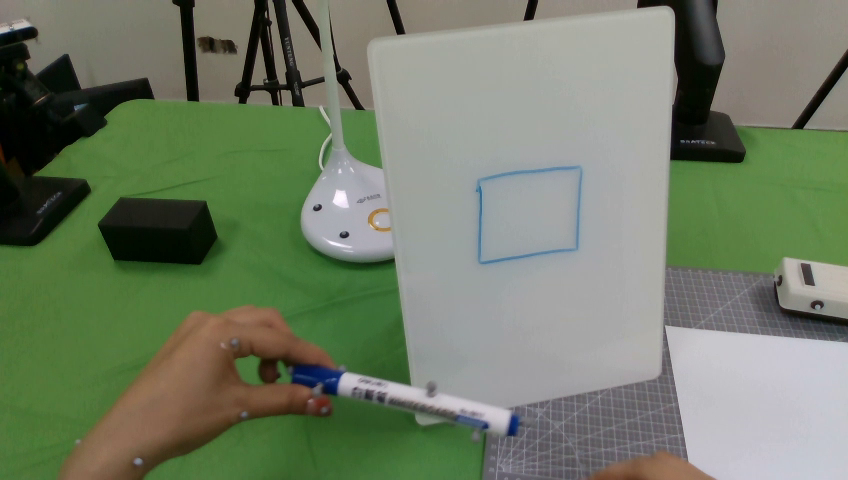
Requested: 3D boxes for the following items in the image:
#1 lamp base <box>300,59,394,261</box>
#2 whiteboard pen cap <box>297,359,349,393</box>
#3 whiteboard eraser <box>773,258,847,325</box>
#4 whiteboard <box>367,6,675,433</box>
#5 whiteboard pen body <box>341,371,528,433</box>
[{"bbox_3d":[-0.073,-0.095,0.663,0.161,0.182,0.177,-28,44,-28],"label":"lamp base"},{"bbox_3d":[-0.063,0.087,0.387,0.033,0.018,0.018,8,40,12],"label":"whiteboard pen cap"},{"bbox_3d":[0.392,0.053,0.568,0.112,0.042,0.055,9,39,14],"label":"whiteboard eraser"},{"bbox_3d":[0.074,-0.024,0.518,0.217,0.307,0.142,-9,21,-7],"label":"whiteboard"},{"bbox_3d":[-0.006,0.097,0.375,0.140,0.017,0.017,10,41,11],"label":"whiteboard pen body"}]
